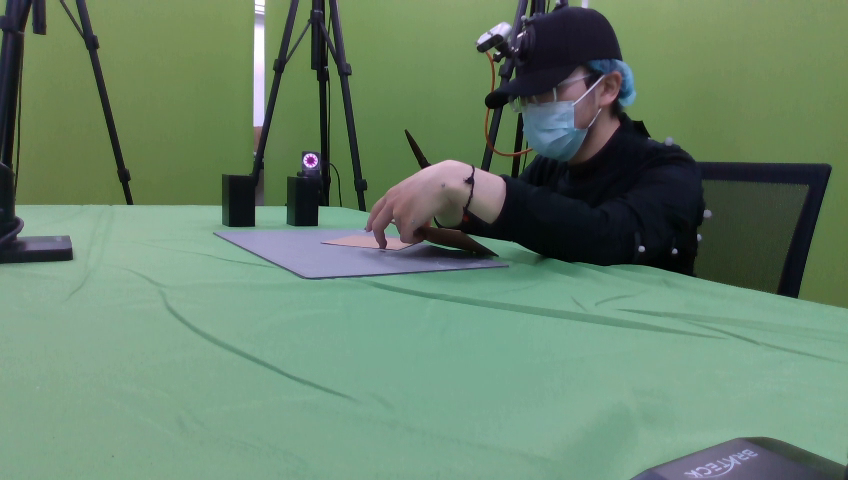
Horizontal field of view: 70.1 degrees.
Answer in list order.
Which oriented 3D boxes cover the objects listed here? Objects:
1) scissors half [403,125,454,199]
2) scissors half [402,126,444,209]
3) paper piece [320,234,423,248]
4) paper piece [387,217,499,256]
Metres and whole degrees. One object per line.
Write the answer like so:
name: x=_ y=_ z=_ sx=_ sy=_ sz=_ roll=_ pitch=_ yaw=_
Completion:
scissors half: x=0.008 y=-0.134 z=1.034 sx=0.013 sy=0.040 sz=0.176 roll=21 pitch=-21 yaw=44
scissors half: x=-0.005 y=-0.121 z=1.028 sx=0.040 sy=0.175 sz=0.012 roll=-39 pitch=39 yaw=-20
paper piece: x=-0.084 y=0.000 z=1.017 sx=0.135 sy=0.004 sz=0.136 roll=4 pitch=7 yaw=17
paper piece: x=0.031 y=-0.006 z=0.928 sx=0.137 sy=0.008 sz=0.137 roll=30 pitch=18 yaw=33
